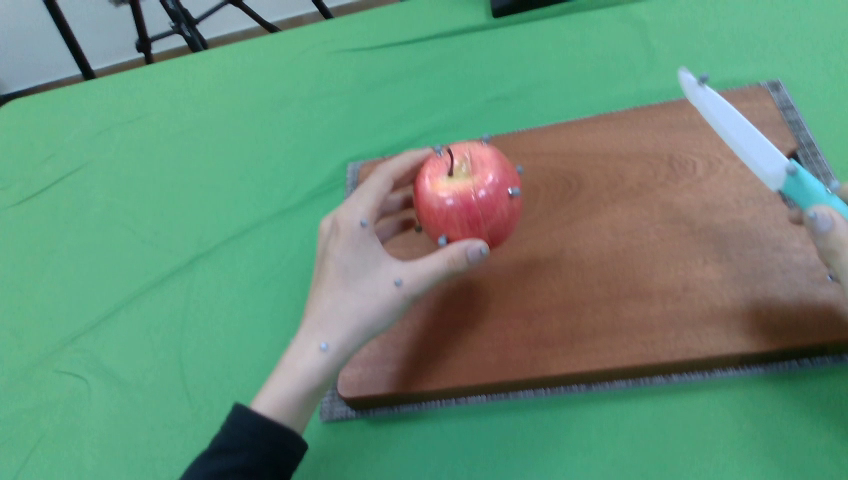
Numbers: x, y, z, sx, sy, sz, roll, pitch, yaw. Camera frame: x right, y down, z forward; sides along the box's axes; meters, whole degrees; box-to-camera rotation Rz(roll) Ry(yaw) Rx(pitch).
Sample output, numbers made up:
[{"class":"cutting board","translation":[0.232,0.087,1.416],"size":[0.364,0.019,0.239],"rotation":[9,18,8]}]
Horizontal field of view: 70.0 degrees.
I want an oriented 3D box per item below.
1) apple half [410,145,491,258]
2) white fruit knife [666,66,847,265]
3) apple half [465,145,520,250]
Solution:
[{"class":"apple half","translation":[0.018,-0.024,0.454],"size":[0.053,0.075,0.080],"rotation":[-14,55,12]},{"class":"white fruit knife","translation":[0.231,-0.040,0.392],"size":[0.016,0.027,0.206],"rotation":[-29,73,-41]},{"class":"apple half","translation":[0.055,-0.033,0.447],"size":[0.033,0.082,0.080],"rotation":[-14,51,11]}]
